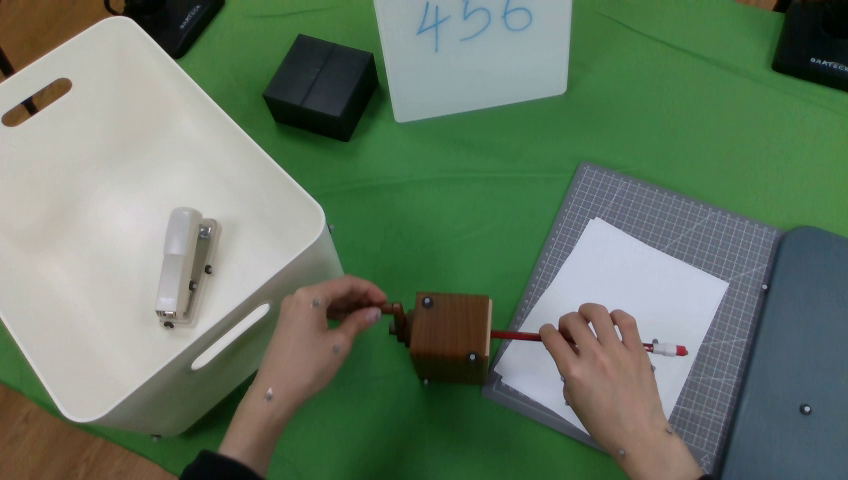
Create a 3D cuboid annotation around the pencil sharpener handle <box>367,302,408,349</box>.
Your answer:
[{"bbox_3d":[-0.031,0.073,0.541,0.030,0.068,0.035,3,59,6],"label":"pencil sharpener handle"}]

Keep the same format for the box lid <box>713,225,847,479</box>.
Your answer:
[{"bbox_3d":[0.432,0.174,0.567,0.262,0.015,0.370,22,68,12],"label":"box lid"}]

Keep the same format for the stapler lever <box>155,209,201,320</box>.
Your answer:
[{"bbox_3d":[-0.260,0.023,0.638,0.027,0.040,0.117,2,68,7],"label":"stapler lever"}]

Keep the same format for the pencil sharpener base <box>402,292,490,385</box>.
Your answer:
[{"bbox_3d":[0.022,0.096,0.575,0.076,0.108,0.061,3,66,6],"label":"pencil sharpener base"}]

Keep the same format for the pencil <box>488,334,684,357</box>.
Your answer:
[{"bbox_3d":[0.132,0.091,0.531,0.194,0.012,0.012,4,64,-2],"label":"pencil"}]

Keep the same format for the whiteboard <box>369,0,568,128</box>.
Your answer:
[{"bbox_3d":[0.042,-0.312,0.689,0.217,0.308,0.142,-10,45,0],"label":"whiteboard"}]

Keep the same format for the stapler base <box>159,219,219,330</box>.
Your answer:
[{"bbox_3d":[-0.259,0.032,0.662,0.041,0.024,0.129,2,67,7],"label":"stapler base"}]

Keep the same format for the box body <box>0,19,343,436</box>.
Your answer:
[{"bbox_3d":[-0.285,-0.013,0.615,0.254,0.161,0.361,-42,69,-15],"label":"box body"}]
